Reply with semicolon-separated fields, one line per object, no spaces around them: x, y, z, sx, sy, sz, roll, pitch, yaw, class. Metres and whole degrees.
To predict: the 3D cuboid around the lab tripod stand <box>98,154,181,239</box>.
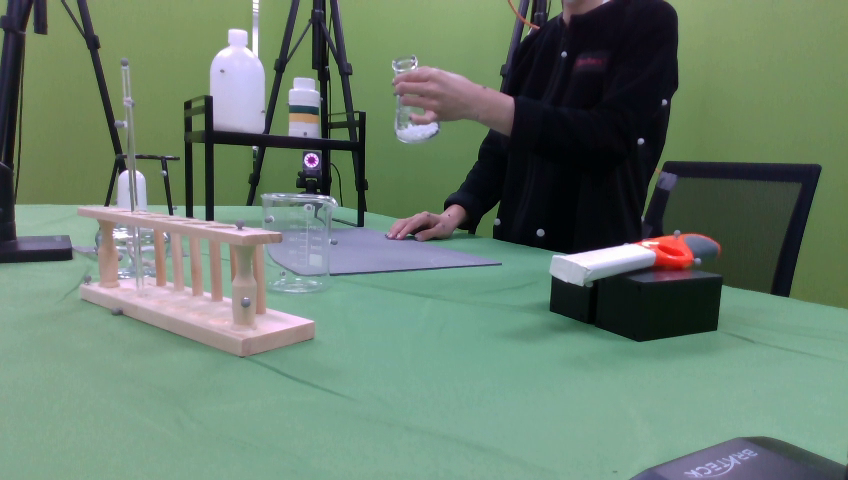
-0.427;-0.066;0.942;0.148;0.131;0.148;1;6;0;lab tripod stand

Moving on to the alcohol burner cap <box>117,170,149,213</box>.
-0.320;-0.052;0.661;0.034;0.048;0.034;-3;0;0;alcohol burner cap

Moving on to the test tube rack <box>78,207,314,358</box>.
-0.197;0.024;0.500;0.241;0.085;0.067;8;8;37;test tube rack

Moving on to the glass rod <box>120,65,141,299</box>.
-0.249;-0.047;0.513;0.008;0.199;0.008;-1;4;0;glass rod

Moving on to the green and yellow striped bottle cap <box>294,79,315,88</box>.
-0.248;-0.323;1.256;0.045;0.020;0.045;3;9;0;green and yellow striped bottle cap

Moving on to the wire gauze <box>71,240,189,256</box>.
-0.399;0.013;0.820;0.126;0.011;0.121;-3;8;-37;wire gauze

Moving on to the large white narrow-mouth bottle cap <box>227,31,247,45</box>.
-0.361;-0.389;1.165;0.038;0.024;0.037;1;7;0;large white narrow-mouth bottle cap

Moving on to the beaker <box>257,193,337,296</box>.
-0.130;0.003;0.628;0.084;0.100;0.074;5;8;15;beaker

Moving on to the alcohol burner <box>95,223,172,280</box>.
-0.320;-0.017;0.667;0.078;0.119;0.078;0;7;0;alcohol burner

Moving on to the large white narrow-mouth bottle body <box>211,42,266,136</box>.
-0.361;-0.302;1.176;0.102;0.194;0.102;1;7;0;large white narrow-mouth bottle body

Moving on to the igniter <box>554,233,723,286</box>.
0.214;0.015;0.570;0.278;0.025;0.057;-5;22;-44;igniter

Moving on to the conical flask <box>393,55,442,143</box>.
-0.018;-0.216;0.921;0.075;0.122;0.075;-9;36;7;conical flask

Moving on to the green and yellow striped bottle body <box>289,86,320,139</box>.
-0.250;-0.272;1.261;0.063;0.119;0.063;3;7;0;green and yellow striped bottle body
